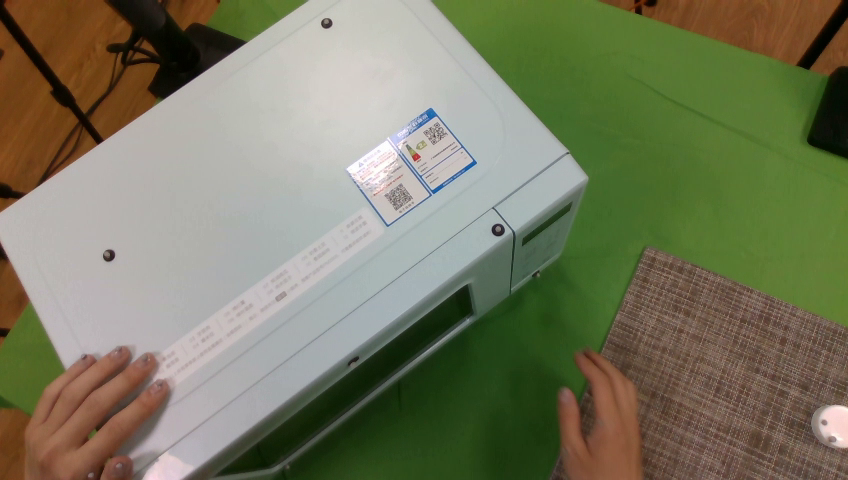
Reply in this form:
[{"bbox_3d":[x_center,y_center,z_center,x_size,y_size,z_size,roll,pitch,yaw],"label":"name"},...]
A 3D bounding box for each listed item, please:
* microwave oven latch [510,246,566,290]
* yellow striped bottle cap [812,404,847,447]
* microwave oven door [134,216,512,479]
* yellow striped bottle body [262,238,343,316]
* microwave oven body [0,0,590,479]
[{"bbox_3d":[0.125,0.023,0.695,0.079,0.030,0.030,-35,73,-4],"label":"microwave oven latch"},{"bbox_3d":[0.433,0.194,0.634,0.044,0.019,0.044,-2,73,8],"label":"yellow striped bottle cap"},{"bbox_3d":[-0.064,0.122,0.580,0.356,0.245,0.039,-37,72,-5],"label":"microwave oven door"},{"bbox_3d":[-0.126,0.037,0.627,0.063,0.121,0.062,-1,72,5],"label":"yellow striped bottle body"},{"bbox_3d":[-0.116,-0.011,0.631,0.441,0.262,0.324,-37,73,-4],"label":"microwave oven body"}]
